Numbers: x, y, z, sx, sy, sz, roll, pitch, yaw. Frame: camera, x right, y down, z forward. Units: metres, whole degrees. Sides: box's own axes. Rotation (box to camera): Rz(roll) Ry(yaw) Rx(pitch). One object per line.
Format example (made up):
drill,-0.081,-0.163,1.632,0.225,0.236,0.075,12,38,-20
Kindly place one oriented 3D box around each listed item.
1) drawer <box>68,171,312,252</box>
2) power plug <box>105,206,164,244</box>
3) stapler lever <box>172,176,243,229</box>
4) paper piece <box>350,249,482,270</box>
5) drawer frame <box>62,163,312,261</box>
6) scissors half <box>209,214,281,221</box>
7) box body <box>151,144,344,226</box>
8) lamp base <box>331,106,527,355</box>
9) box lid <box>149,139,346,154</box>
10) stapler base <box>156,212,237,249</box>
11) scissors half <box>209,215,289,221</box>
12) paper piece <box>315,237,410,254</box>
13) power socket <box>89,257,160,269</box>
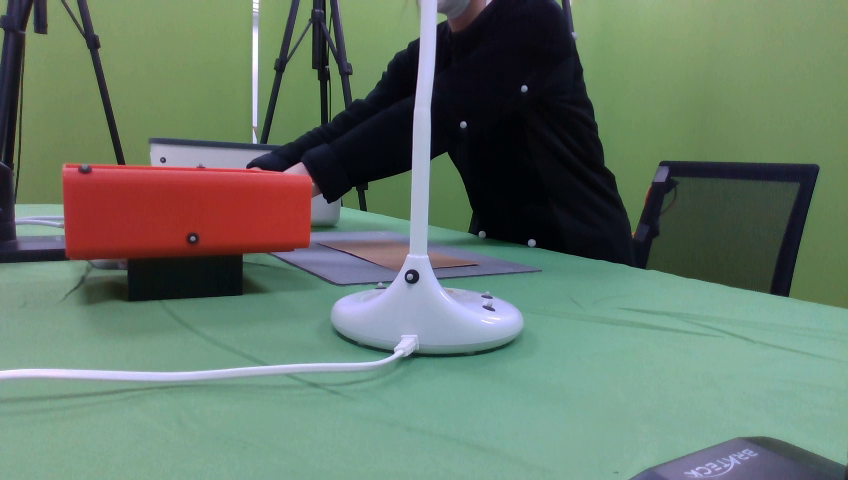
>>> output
drawer,-0.247,-0.036,0.629,0.213,0.073,0.193,-3,9,-30
power plug,-0.389,-0.020,0.816,0.073,0.052,0.035,1,6,-27
stapler lever,-0.217,-0.041,0.618,0.027,0.040,0.118,19,11,-2
paper piece,-0.013,0.026,0.841,0.139,0.008,0.135,-1,11,-32
drawer frame,-0.248,-0.036,0.626,0.215,0.082,0.200,-3,9,-31
scissors half,-0.364,-0.044,1.216,0.174,0.013,0.040,0,2,26
box body,-0.370,-0.119,1.264,0.366,0.160,0.253,-1,8,-24
lamp base,0.006,-0.012,0.478,0.161,0.180,0.179,2,10,2
box lid,-0.365,-0.191,1.255,0.373,0.015,0.262,-1,8,-24
stapler base,-0.227,-0.017,0.624,0.041,0.024,0.130,19,10,-2
scissors half,-0.357,-0.044,1.235,0.175,0.013,0.040,1,-3,9
paper piece,-0.084,0.008,0.948,0.136,0.004,0.134,0,10,-31
power socket,-0.409,0.005,0.793,0.072,0.032,0.225,-1,8,-38
